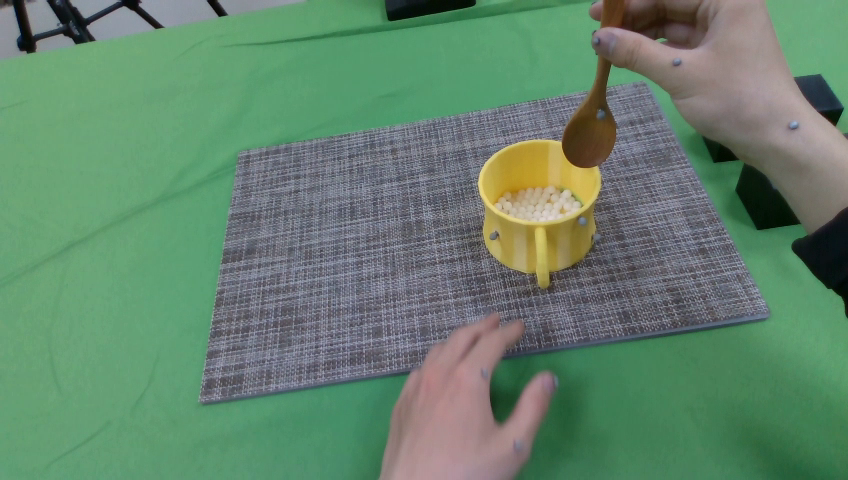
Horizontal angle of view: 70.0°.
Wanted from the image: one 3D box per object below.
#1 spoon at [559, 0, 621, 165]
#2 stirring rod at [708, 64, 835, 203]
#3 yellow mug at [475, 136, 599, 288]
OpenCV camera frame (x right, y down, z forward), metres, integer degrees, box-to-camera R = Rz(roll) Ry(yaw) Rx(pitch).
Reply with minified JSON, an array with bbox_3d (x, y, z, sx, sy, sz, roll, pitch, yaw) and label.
[{"bbox_3d":[0.117,-0.117,0.402,0.041,0.195,0.021,-1,60,7],"label":"spoon"},{"bbox_3d":[0.288,-0.096,0.511,0.014,0.006,0.174,-38,45,26],"label":"stirring rod"},{"bbox_3d":[0.095,-0.020,0.509,0.100,0.064,0.129,-3,52,8],"label":"yellow mug"}]
